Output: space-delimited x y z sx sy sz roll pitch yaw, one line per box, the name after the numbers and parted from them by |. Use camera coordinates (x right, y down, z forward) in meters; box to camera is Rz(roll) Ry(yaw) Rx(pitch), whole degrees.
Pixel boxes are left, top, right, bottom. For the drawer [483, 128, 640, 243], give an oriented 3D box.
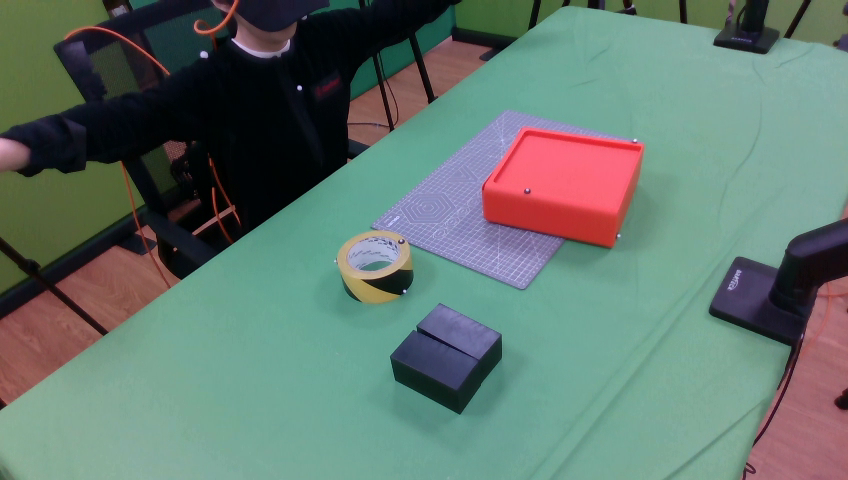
0.230 -0.096 1.006 0.210 0.073 0.194 14 44 23 | drawer

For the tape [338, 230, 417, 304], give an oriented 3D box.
-0.069 0.041 0.917 0.117 0.053 0.116 -4 41 4 | tape

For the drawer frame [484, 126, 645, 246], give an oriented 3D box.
0.234 -0.096 1.003 0.212 0.083 0.202 14 44 22 | drawer frame
